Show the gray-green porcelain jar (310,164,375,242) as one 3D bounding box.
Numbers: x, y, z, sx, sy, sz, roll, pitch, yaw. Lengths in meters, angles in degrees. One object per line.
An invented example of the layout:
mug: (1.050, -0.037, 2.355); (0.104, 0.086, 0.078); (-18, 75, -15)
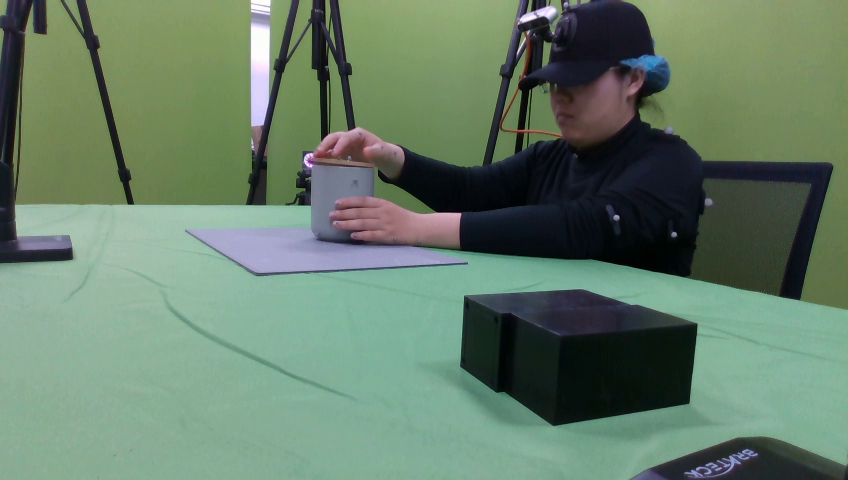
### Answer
gray-green porcelain jar: (-0.139, -0.063, 1.025); (0.106, 0.126, 0.106); (3, 8, 0)

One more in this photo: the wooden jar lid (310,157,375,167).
wooden jar lid: (-0.137, -0.125, 1.017); (0.108, 0.020, 0.108); (5, 8, 0)
